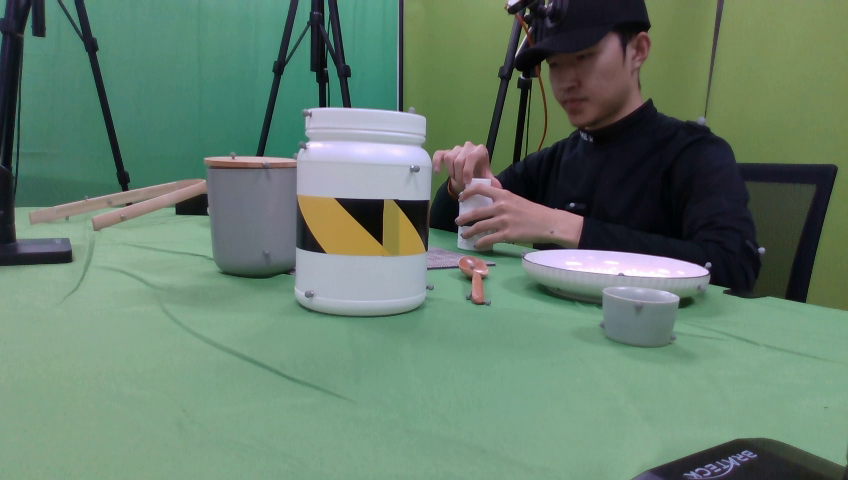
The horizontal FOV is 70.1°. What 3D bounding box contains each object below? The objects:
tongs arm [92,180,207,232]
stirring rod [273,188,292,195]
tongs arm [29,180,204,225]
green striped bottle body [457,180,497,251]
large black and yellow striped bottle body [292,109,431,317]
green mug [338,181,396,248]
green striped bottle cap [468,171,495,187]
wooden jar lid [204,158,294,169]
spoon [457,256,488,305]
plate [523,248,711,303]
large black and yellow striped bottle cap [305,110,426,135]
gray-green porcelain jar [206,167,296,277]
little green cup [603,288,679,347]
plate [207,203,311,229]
[{"bbox_3d":[-0.534,-0.076,1.221,0.028,0.028,0.388,-2,15,12],"label":"tongs arm"},{"bbox_3d":[-0.354,-0.122,1.519,0.006,0.014,0.176,2,7,1],"label":"stirring rod"},{"bbox_3d":[-0.609,-0.083,1.245,0.050,0.026,0.386,5,16,23],"label":"tongs arm"},{"bbox_3d":[0.090,-0.044,1.024,0.063,0.119,0.063,4,8,0],"label":"green striped bottle body"},{"bbox_3d":[-0.060,-0.028,0.585,0.131,0.184,0.130,3,7,0],"label":"large black and yellow striped bottle body"},{"bbox_3d":[-0.097,-0.044,0.995,0.093,0.105,0.125,-1,8,-21],"label":"green mug"},{"bbox_3d":[0.097,-0.101,1.018,0.044,0.020,0.044,-16,9,3],"label":"green striped bottle cap"},{"bbox_3d":[-0.202,-0.086,0.714,0.108,0.020,0.108,3,11,0],"label":"wooden jar lid"},{"bbox_3d":[0.059,0.044,0.696,0.041,0.021,0.193,22,7,0],"label":"spoon"},{"bbox_3d":[0.219,0.041,0.706,0.209,0.038,0.209,2,7,0],"label":"plate"},{"bbox_3d":[-0.055,-0.110,0.574,0.115,0.019,0.115,1,7,0],"label":"large black and yellow striped bottle cap"},{"bbox_3d":[-0.201,-0.024,0.724,0.106,0.126,0.106,-1,9,1],"label":"gray-green porcelain jar"},{"bbox_3d":[0.180,0.064,0.505,0.061,0.038,0.061,2,7,0],"label":"little green cup"},{"bbox_3d":[-0.342,-0.050,1.259,0.208,0.039,0.207,3,7,0],"label":"plate"}]
